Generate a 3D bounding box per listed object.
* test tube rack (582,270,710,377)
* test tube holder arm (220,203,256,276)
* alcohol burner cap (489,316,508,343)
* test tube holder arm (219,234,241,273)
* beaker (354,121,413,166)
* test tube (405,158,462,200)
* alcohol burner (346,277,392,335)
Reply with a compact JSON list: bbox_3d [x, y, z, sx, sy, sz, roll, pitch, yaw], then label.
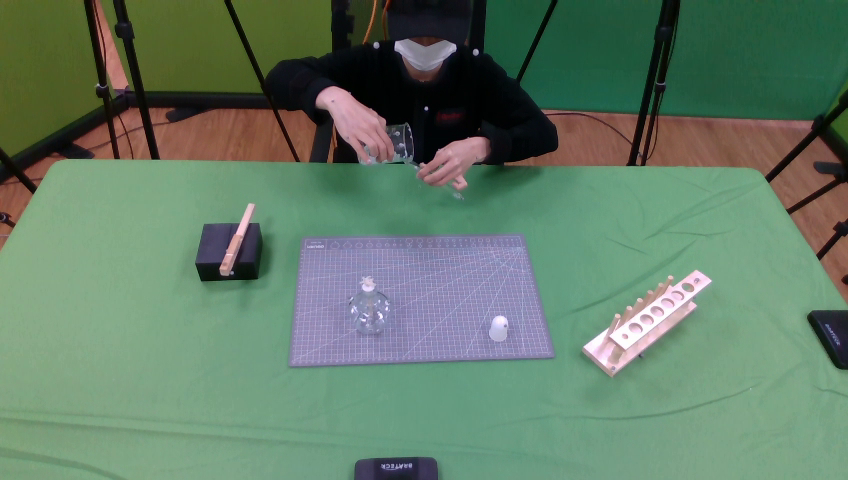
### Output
[{"bbox_3d":[0.389,0.132,1.057,0.242,0.085,0.066,-28,54,-28],"label":"test tube rack"},{"bbox_3d":[-0.340,-0.005,1.112,0.015,0.013,0.177,5,46,2],"label":"test tube holder arm"},{"bbox_3d":[0.130,0.151,1.045,0.034,0.048,0.033,2,46,-2],"label":"alcohol burner cap"},{"bbox_3d":[-0.344,0.023,1.076,0.015,0.010,0.087,5,45,2],"label":"test tube holder arm"},{"bbox_3d":[-0.078,-0.178,1.143,0.100,0.084,0.073,-8,35,-12],"label":"beaker"},{"bbox_3d":[0.021,-0.121,1.213,0.151,0.017,0.017,32,36,-31],"label":"test tube"},{"bbox_3d":[-0.093,0.106,1.021,0.078,0.120,0.077,1,46,-1],"label":"alcohol burner"}]
